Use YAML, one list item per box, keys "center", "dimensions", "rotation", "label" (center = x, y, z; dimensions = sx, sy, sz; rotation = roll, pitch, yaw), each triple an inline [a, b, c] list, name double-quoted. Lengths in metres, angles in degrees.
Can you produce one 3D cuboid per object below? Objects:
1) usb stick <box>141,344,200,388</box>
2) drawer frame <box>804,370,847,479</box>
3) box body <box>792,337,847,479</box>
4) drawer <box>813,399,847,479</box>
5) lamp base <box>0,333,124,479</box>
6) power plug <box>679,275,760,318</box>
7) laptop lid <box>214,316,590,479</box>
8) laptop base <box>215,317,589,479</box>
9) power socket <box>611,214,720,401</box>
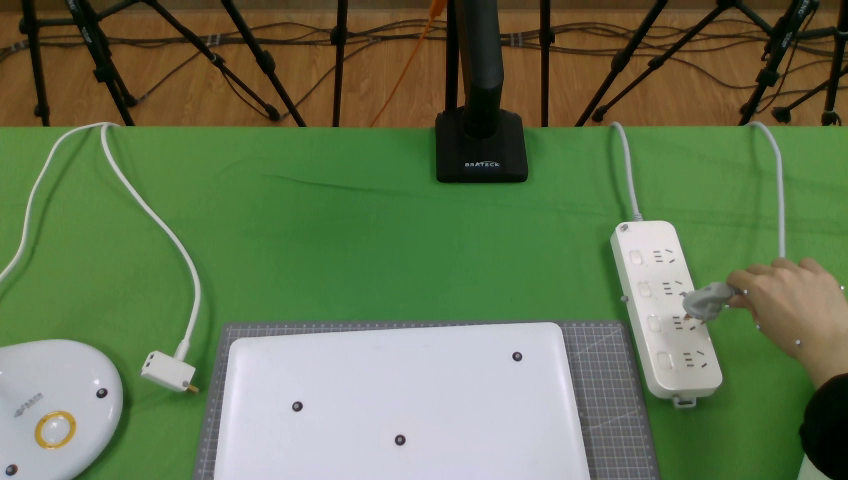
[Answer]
- center: [-0.254, 0.131, 0.619]
  dimensions: [0.021, 0.060, 0.027]
  rotation: [-21, 40, 39]
  label: "usb stick"
- center: [0.470, 0.220, 0.540]
  dimensions: [0.200, 0.083, 0.213]
  rotation: [34, 59, 18]
  label: "drawer frame"
- center: [0.454, 0.241, 0.488]
  dimensions: [0.253, 0.162, 0.363]
  rotation: [29, 61, 17]
  label: "box body"
- center: [0.476, 0.220, 0.537]
  dimensions: [0.193, 0.074, 0.211]
  rotation: [33, 64, 21]
  label: "drawer"
- center: [-0.396, 0.120, 0.545]
  dimensions: [0.178, 0.182, 0.160]
  rotation: [22, 59, 17]
  label: "lamp base"
- center: [0.299, 0.063, 0.618]
  dimensions: [0.072, 0.053, 0.035]
  rotation: [10, 48, 6]
  label: "power plug"
- center: [-0.023, 0.189, 0.587]
  dimensions: [0.357, 0.013, 0.239]
  rotation: [-1, 60, -1]
  label: "laptop lid"
- center: [-0.023, 0.193, 0.598]
  dimensions: [0.354, 0.023, 0.233]
  rotation: [-3, 61, -2]
  label: "laptop base"
- center: [0.264, 0.065, 0.676]
  dimensions: [0.072, 0.033, 0.224]
  rotation: [-1, 57, -2]
  label: "power socket"
